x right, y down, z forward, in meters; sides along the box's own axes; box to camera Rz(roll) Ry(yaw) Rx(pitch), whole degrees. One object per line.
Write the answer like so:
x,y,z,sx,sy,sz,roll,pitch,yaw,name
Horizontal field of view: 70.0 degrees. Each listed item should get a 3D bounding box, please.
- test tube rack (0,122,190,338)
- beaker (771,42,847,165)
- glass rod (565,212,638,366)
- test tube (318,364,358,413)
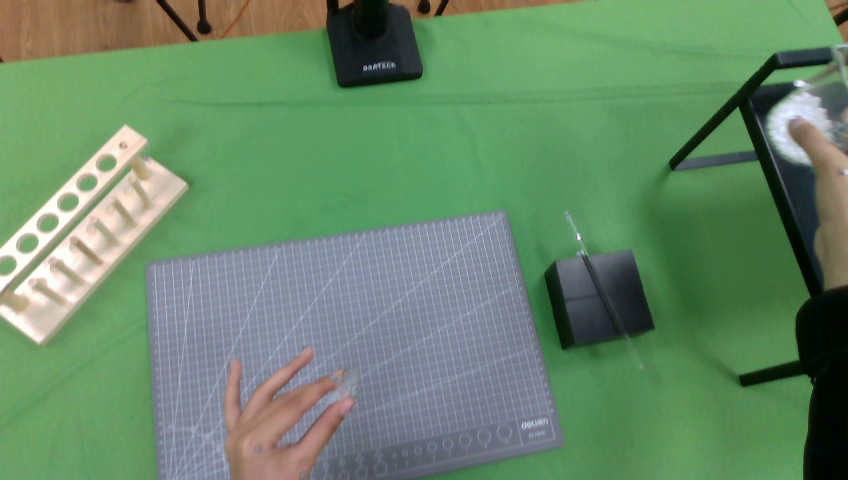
-0.386,-0.012,0.688,0.066,0.085,0.241,34,71,7,test tube rack
0.370,-0.119,0.540,0.074,0.100,0.084,-42,83,-20,beaker
0.210,0.055,0.722,0.008,0.008,0.198,-17,74,-12,glass rod
-0.079,0.135,0.540,0.017,0.151,0.017,7,63,-14,test tube
